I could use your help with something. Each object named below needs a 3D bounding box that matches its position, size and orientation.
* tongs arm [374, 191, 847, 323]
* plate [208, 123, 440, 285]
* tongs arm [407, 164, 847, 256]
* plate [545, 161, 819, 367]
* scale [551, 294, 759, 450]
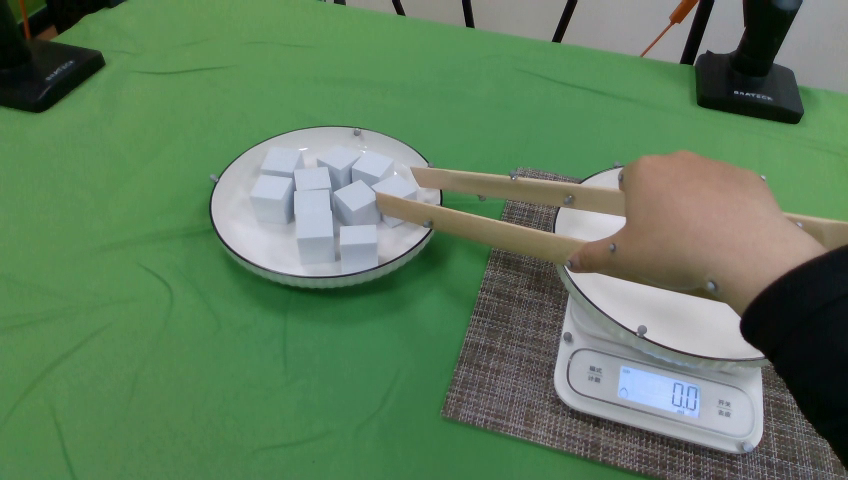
[{"bbox_3d":[0.101,-0.001,0.422,0.384,0.028,0.028,14,43,41],"label":"tongs arm"},{"bbox_3d":[-0.089,-0.033,0.562,0.209,0.038,0.207,2,46,-2],"label":"plate"},{"bbox_3d":[0.120,-0.019,0.437,0.382,0.027,0.050,12,45,39],"label":"tongs arm"},{"bbox_3d":[0.198,0.016,0.485,0.208,0.039,0.205,2,47,-2],"label":"plate"},{"bbox_3d":[0.190,0.059,0.490,0.148,0.032,0.199,14,48,10],"label":"scale"}]
